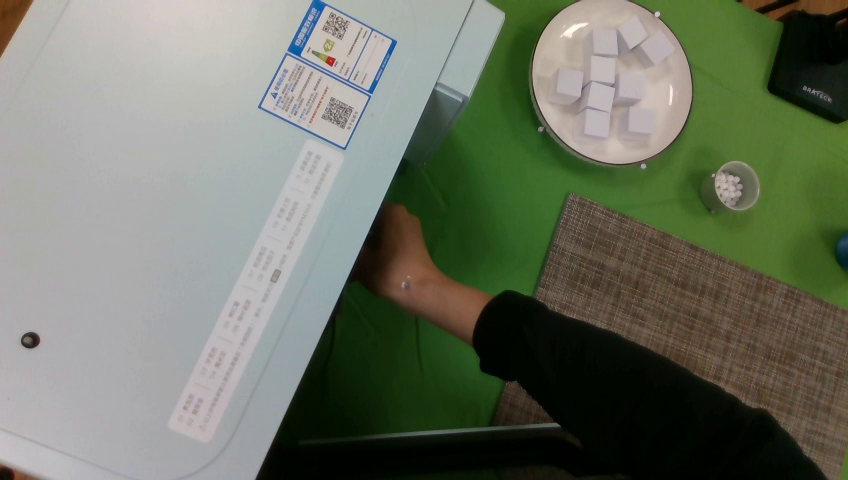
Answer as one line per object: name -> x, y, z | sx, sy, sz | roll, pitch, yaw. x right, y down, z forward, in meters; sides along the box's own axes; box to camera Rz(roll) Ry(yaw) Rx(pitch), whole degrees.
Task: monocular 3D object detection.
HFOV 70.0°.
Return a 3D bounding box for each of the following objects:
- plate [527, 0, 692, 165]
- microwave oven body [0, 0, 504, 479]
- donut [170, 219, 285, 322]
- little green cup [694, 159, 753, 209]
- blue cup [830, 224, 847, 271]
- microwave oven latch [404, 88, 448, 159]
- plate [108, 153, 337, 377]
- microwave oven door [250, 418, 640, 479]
plate -> 0.222, -0.191, 0.738 | 0.208, 0.039, 0.207 | 1, 84, -10
microwave oven body -> -0.189, -0.042, 0.531 | 0.327, 0.260, 0.440 | 25, 82, -8
donut -> -0.176, 0.029, 0.547 | 0.099, 0.048, 0.098 | 5, 61, -9
little green cup -> 0.371, -0.067, 0.755 | 0.062, 0.038, 0.061 | 1, 84, -10
blue cup -> 0.570, 0.007, 0.753 | 0.093, 0.100, 0.092 | 1, 86, -10
microwave oven latch -> -0.002, -0.131, 0.672 | 0.030, 0.029, 0.079 | 29, 81, -7
plate -> -0.186, 0.023, 0.574 | 0.209, 0.038, 0.208 | 0, 83, -3
microwave oven door -> 0.025, 0.209, 0.543 | 0.357, 0.243, 0.039 | -1, 84, -11
